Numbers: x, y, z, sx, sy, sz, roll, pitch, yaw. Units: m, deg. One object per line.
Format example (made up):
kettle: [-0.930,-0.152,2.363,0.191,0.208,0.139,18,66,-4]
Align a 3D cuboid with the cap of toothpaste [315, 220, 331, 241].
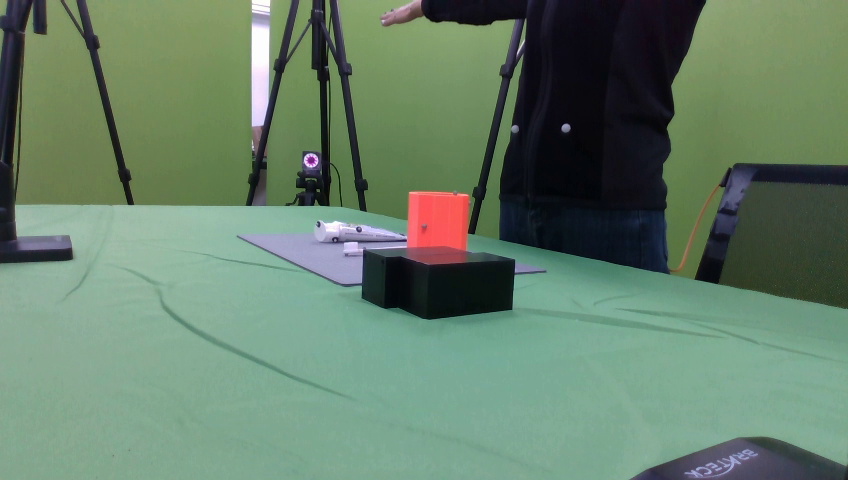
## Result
cap of toothpaste: [-0.164,-0.015,0.982,0.011,0.037,0.037,-8,12,-43]

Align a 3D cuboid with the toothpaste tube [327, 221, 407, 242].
toothpaste tube: [-0.095,-0.012,1.026,0.166,0.034,0.055,2,13,-33]

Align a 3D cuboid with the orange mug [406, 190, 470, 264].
orange mug: [0.027,-0.023,0.866,0.083,0.101,0.126,5,12,24]

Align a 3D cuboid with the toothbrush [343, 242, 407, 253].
toothbrush: [-0.039,0.010,0.905,0.183,0.016,0.014,-1,-7,-35]
